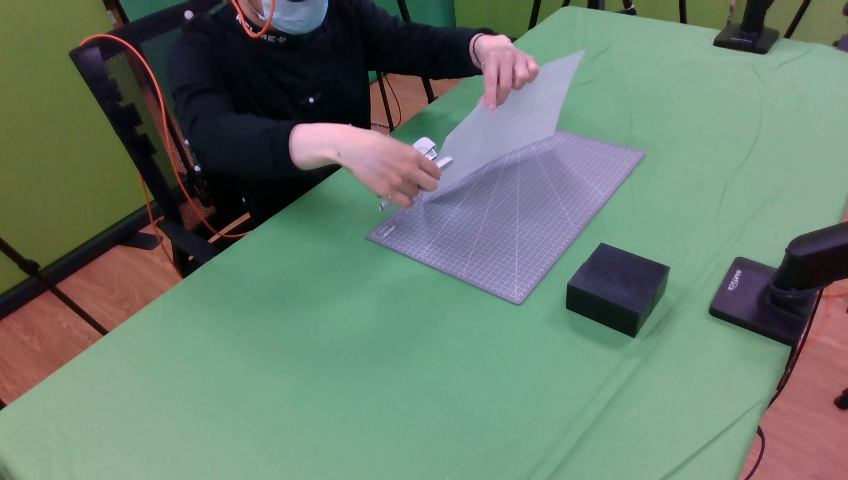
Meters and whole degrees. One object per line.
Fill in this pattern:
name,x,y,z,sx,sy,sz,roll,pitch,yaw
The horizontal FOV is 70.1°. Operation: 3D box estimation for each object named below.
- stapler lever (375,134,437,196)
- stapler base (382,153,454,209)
stapler lever,-0.031,-0.115,0.911,0.118,0.027,0.040,-38,82,-7
stapler base,-0.014,-0.095,0.909,0.131,0.041,0.024,-36,82,-7
